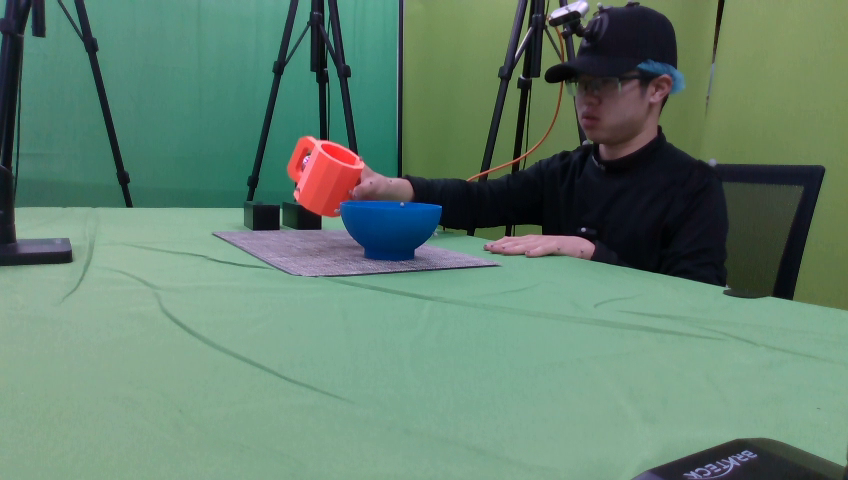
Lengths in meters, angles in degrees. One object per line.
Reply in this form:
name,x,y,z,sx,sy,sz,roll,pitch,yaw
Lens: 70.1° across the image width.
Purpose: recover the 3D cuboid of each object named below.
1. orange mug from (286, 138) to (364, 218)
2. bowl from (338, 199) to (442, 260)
orange mug,-0.170,-0.110,0.998,0.126,0.100,0.084,40,24,18
bowl,-0.050,-0.015,0.878,0.151,0.077,0.151,2,8,0
